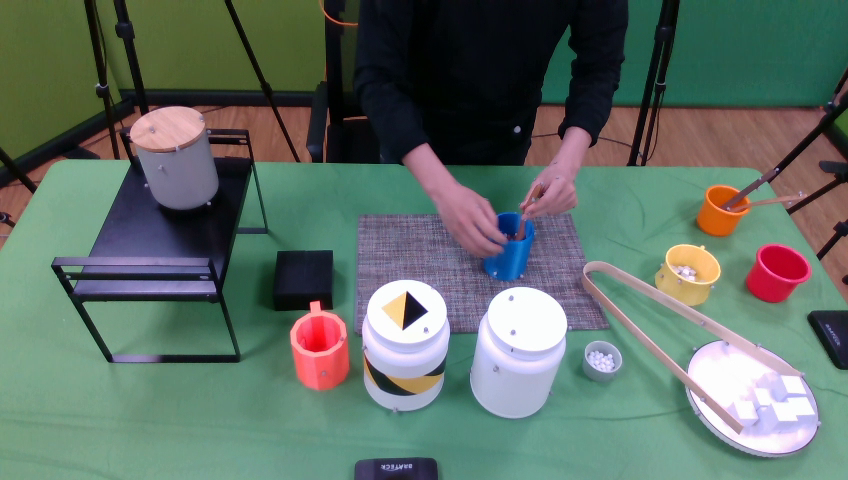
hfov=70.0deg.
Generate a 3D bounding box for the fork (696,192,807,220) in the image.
[{"bbox_3d":[0.655,-0.069,1.224,0.207,0.019,0.028,-17,33,45],"label":"fork"}]

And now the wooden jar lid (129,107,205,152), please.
[{"bbox_3d":[-0.385,-0.163,0.915,0.108,0.021,0.107,2,47,-2],"label":"wooden jar lid"}]

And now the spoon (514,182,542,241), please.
[{"bbox_3d":[0.179,-0.036,1.083,0.041,0.194,0.021,-25,56,-23],"label":"spoon"}]

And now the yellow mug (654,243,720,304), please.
[{"bbox_3d":[0.504,0.054,1.154,0.099,0.064,0.130,28,50,22],"label":"yellow mug"}]

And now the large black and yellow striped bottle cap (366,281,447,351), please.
[{"bbox_3d":[-0.025,0.106,0.866,0.115,0.019,0.114,2,46,-1],"label":"large black and yellow striped bottle cap"}]

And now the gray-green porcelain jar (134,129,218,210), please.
[{"bbox_3d":[-0.388,-0.120,0.960,0.106,0.127,0.105,2,46,-2],"label":"gray-green porcelain jar"}]

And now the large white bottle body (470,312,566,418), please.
[{"bbox_3d":[0.143,0.173,0.930,0.131,0.185,0.130,2,46,-2],"label":"large white bottle body"}]

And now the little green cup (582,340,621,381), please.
[{"bbox_3d":[0.295,0.204,1.015,0.061,0.039,0.061,2,45,-2],"label":"little green cup"}]

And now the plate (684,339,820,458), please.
[{"bbox_3d":[0.523,0.256,0.982,0.208,0.039,0.206,2,46,-2],"label":"plate"}]

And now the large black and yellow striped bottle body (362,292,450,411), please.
[{"bbox_3d":[-0.029,0.163,0.928,0.131,0.185,0.130,2,47,-2],"label":"large black and yellow striped bottle body"}]

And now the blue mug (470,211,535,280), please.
[{"bbox_3d":[0.141,0.005,1.139,0.116,0.106,0.082,20,48,14],"label":"blue mug"}]

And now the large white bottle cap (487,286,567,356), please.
[{"bbox_3d":[0.147,0.114,0.869,0.115,0.018,0.114,3,46,-3],"label":"large white bottle cap"}]

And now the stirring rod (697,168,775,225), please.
[{"bbox_3d":[0.644,-0.090,1.252,0.176,0.006,0.014,-40,53,16],"label":"stirring rod"}]

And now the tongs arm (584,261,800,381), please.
[{"bbox_3d":[0.452,0.137,1.064,0.051,0.027,0.382,-34,50,-27],"label":"tongs arm"}]

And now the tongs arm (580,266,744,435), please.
[{"bbox_3d":[0.384,0.173,1.028,0.028,0.028,0.385,-25,46,-15],"label":"tongs arm"}]

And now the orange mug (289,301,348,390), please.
[{"bbox_3d":[-0.170,0.162,0.976,0.083,0.101,0.125,-7,52,-12],"label":"orange mug"}]
